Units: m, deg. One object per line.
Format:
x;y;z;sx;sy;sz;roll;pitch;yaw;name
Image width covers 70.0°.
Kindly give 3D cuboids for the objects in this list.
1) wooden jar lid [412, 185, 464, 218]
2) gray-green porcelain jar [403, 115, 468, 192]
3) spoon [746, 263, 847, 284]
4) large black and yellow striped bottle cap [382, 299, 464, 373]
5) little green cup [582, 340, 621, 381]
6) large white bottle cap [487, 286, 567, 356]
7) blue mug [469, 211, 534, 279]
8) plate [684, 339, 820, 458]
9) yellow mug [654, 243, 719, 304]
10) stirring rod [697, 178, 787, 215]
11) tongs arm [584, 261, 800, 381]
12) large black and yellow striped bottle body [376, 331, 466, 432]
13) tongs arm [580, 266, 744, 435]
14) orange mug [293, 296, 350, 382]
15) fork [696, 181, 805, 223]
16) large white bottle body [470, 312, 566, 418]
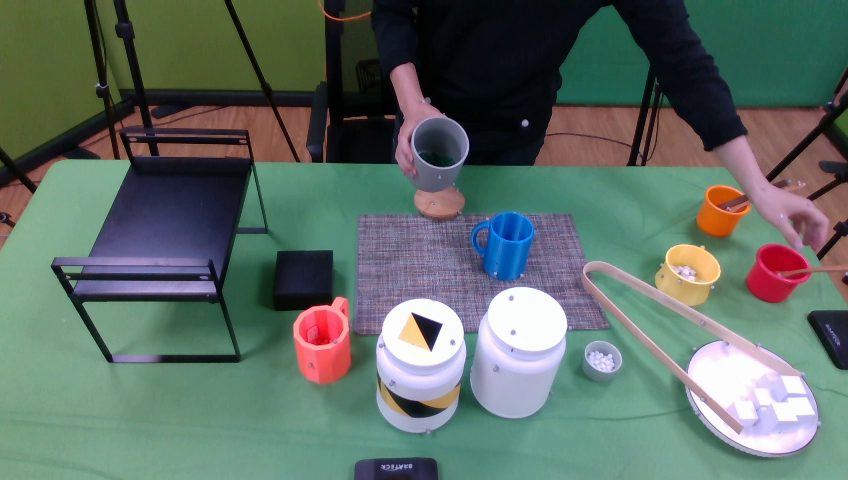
0.029;-0.082;1.276;0.108;0.021;0.107;3;43;-3;wooden jar lid
0.017;-0.155;1.125;0.106;0.127;0.105;3;72;-9;gray-green porcelain jar
0.696;0.057;1.113;0.193;0.022;0.041;-16;27;48;spoon
-0.002;0.132;0.843;0.115;0.019;0.114;2;47;-1;large black and yellow striped bottle cap
0.295;0.204;1.014;0.061;0.039;0.061;2;45;-2;little green cup
0.147;0.114;0.869;0.115;0.018;0.114;3;47;-3;large white bottle cap
0.141;0.005;1.140;0.116;0.106;0.082;18;48;13;blue mug
0.523;0.256;0.982;0.208;0.039;0.206;2;46;-2;plate
0.504;0.054;1.154;0.099;0.064;0.130;28;50;22;yellow mug
0.650;-0.088;1.246;0.006;0.176;0.014;29;50;-39;stirring rod
0.452;0.137;1.064;0.051;0.027;0.382;-34;50;-27;tongs arm
-0.007;0.189;0.905;0.131;0.185;0.130;2;46;-2;large black and yellow striped bottle body
0.384;0.173;1.028;0.028;0.028;0.385;-25;46;-15;tongs arm
-0.158;0.154;0.985;0.083;0.101;0.125;17;52;11;orange mug
0.659;-0.077;1.232;0.207;0.019;0.028;-26;34;34;fork
0.143;0.173;0.930;0.131;0.185;0.130;2;46;-2;large white bottle body
